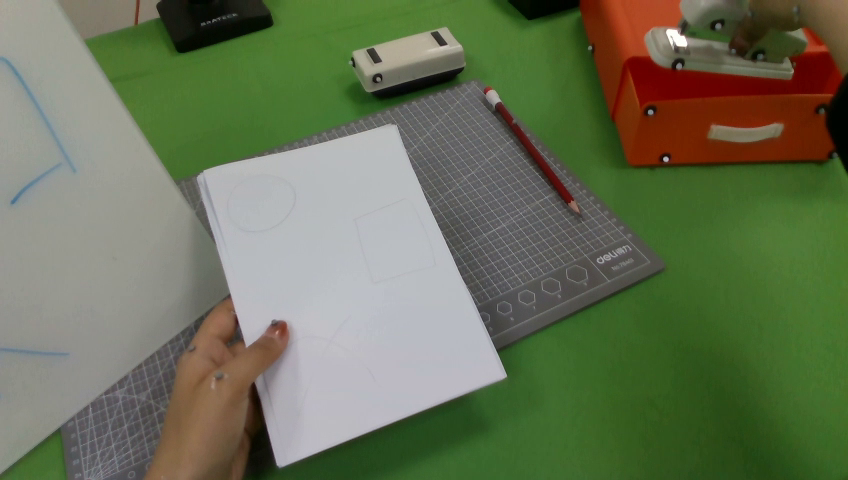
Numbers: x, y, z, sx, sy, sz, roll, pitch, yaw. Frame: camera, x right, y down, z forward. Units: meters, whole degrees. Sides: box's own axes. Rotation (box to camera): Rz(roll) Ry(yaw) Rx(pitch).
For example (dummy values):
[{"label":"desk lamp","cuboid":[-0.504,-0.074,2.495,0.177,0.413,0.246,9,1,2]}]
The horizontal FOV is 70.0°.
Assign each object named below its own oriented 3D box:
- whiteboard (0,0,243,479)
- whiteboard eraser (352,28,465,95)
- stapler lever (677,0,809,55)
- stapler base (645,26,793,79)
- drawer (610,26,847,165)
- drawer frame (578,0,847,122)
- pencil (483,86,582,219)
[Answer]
[{"label":"whiteboard","cuboid":[-0.306,-0.033,0.394,0.142,0.308,0.217,20,52,43]},{"label":"whiteboard eraser","cuboid":[-0.017,-0.188,0.648,0.113,0.042,0.055,-18,52,-12]},{"label":"stapler lever","cuboid":[0.251,-0.170,0.469,0.118,0.040,0.026,2,64,-15]},{"label":"stapler base","cuboid":[0.244,-0.158,0.491,0.131,0.024,0.041,2,64,-14]},{"label":"drawer","cuboid":[0.279,-0.168,0.590,0.194,0.074,0.209,-2,49,2]},{"label":"drawer frame","cuboid":[0.279,-0.218,0.630,0.201,0.083,0.211,-2,49,2]},{"label":"pencil","cuboid":[0.100,-0.088,0.573,0.012,0.012,0.192,-18,54,-12]}]
